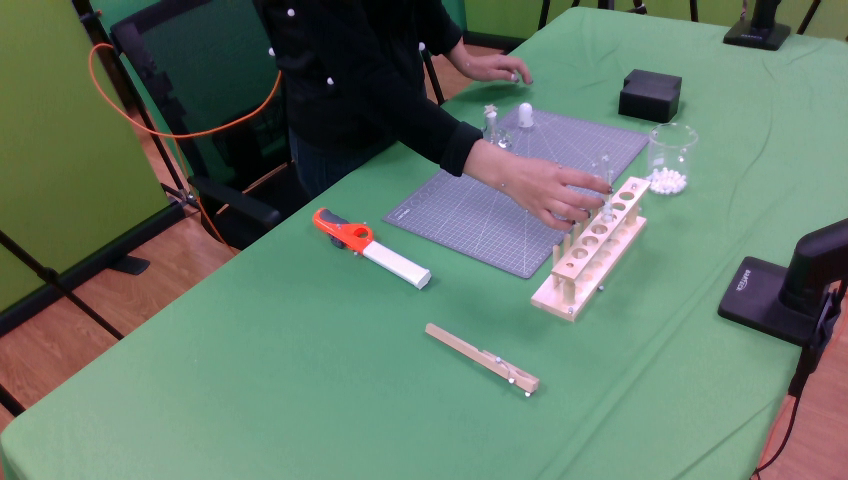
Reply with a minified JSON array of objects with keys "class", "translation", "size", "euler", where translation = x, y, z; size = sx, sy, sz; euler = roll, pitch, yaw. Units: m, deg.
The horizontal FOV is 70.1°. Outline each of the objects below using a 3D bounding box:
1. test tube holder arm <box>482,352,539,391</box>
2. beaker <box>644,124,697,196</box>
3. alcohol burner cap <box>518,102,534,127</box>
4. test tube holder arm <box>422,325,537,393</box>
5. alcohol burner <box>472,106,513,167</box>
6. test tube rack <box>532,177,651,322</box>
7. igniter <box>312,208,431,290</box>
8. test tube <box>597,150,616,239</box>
[{"class":"test tube holder arm","translation":[0.106,0.166,0.769],"size":[0.087,0.015,0.010],"euler":[23,14,33]},{"class":"beaker","translation":[0.407,-0.132,1.001],"size":[0.084,0.101,0.073],"euler":[-20,42,-14]},{"class":"alcohol burner cap","translation":[0.205,-0.255,1.223],"size":[0.034,0.048,0.033],"euler":[-6,40,5]},{"class":"test tube holder arm","translation":[0.068,0.152,0.788],"size":[0.177,0.015,0.013],"euler":[23,14,32]},{"class":"alcohol burner","translation":[0.125,-0.194,1.111],"size":[0.078,0.119,0.077],"euler":[-5,42,5]},{"class":"test tube rack","translation":[0.248,0.002,0.883],"size":[0.066,0.085,0.243],"euler":[23,49,32]},{"class":"igniter","translation":[-0.096,0.008,0.985],"size":[0.274,0.025,0.057],"euler":[29,63,36]},{"class":"test tube","translation":[0.251,-0.059,0.829],"size":[0.017,0.151,0.017],"euler":[-11,40,10]}]
